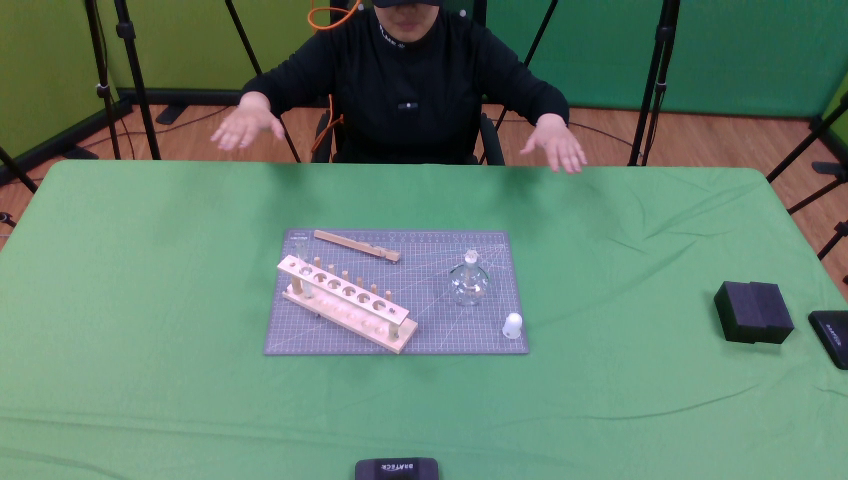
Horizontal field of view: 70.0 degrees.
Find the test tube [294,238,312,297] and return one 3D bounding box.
[{"bbox_3d":[-0.202,0.050,1.018,0.017,0.151,0.017,2,50,-2],"label":"test tube"}]

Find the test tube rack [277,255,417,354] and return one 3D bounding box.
[{"bbox_3d":[-0.132,0.099,1.045,0.241,0.085,0.066,23,49,17],"label":"test tube rack"}]

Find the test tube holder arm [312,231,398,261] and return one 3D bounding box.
[{"bbox_3d":[-0.135,0.011,1.175,0.178,0.015,0.013,15,13,11],"label":"test tube holder arm"}]

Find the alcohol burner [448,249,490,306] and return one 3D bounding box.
[{"bbox_3d":[0.081,0.062,1.078,0.078,0.120,0.077,1,45,-1],"label":"alcohol burner"}]

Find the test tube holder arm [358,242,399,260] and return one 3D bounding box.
[{"bbox_3d":[-0.090,0.021,1.172,0.087,0.015,0.010,15,13,12],"label":"test tube holder arm"}]

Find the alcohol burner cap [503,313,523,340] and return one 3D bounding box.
[{"bbox_3d":[0.155,0.147,1.051,0.034,0.048,0.033,1,46,-1],"label":"alcohol burner cap"}]
